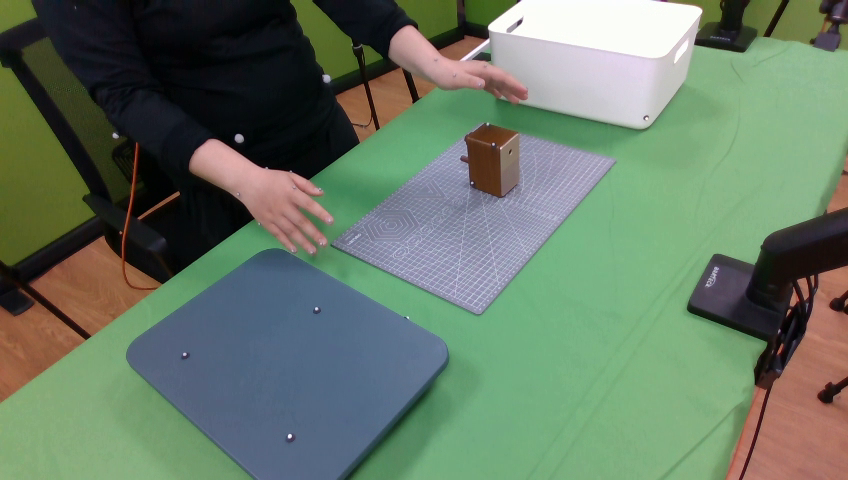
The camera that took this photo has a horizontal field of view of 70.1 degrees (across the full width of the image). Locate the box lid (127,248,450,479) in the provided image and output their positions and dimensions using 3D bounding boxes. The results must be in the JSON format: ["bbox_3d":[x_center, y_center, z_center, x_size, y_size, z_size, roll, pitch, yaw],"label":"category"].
[{"bbox_3d":[-0.177,0.145,0.768,0.368,0.015,0.264,24,50,32],"label":"box lid"}]

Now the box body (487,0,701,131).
[{"bbox_3d":[0.345,-0.379,1.257,0.361,0.161,0.255,20,48,29],"label":"box body"}]

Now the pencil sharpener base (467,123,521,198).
[{"bbox_3d":[0.119,-0.138,1.044,0.076,0.107,0.061,23,50,32],"label":"pencil sharpener base"}]

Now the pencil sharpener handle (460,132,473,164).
[{"bbox_3d":[0.077,-0.163,1.062,0.030,0.068,0.036,23,44,32],"label":"pencil sharpener handle"}]
